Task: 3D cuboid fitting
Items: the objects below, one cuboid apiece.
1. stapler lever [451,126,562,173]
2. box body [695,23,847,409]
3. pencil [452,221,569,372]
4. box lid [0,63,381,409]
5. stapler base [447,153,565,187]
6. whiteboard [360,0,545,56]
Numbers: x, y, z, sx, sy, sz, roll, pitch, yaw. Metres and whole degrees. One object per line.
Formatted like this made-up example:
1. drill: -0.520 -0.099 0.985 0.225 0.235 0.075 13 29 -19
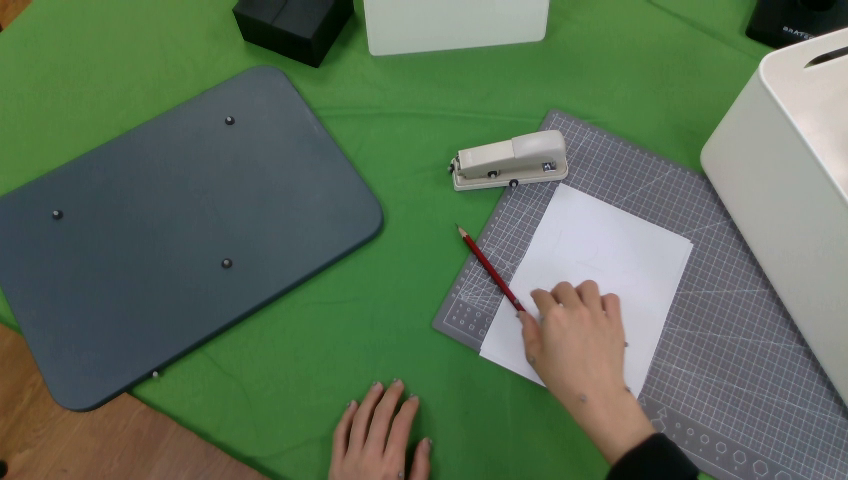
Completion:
1. stapler lever: 0.089 -0.096 0.646 0.118 0.040 0.026 -7 64 -1
2. box body: 0.469 -0.020 0.578 0.254 0.161 0.361 -19 70 -9
3. pencil: 0.084 0.053 0.620 0.012 0.012 0.192 -32 71 -13
4. box lid: -0.261 -0.024 0.644 0.371 0.015 0.261 -33 73 -14
5. stapler base: 0.091 -0.087 0.669 0.130 0.024 0.041 -7 64 -1
6. whiteboard: 0.026 -0.387 0.670 0.217 0.308 0.142 -6 49 -3
